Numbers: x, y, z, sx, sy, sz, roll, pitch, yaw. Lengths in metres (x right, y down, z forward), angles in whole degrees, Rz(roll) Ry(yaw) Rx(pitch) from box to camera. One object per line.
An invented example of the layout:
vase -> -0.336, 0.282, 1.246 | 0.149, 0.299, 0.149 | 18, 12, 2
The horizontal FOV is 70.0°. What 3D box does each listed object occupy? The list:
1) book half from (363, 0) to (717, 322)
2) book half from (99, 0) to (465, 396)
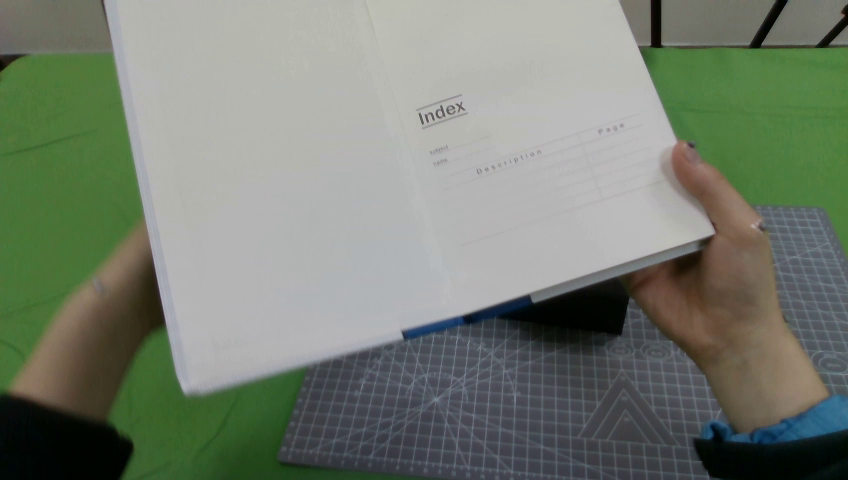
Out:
book half -> 0.061, -0.073, 0.348 | 0.148, 0.016, 0.209 | -17, 78, 3
book half -> -0.068, -0.042, 0.303 | 0.144, 0.007, 0.209 | -9, 77, -33
